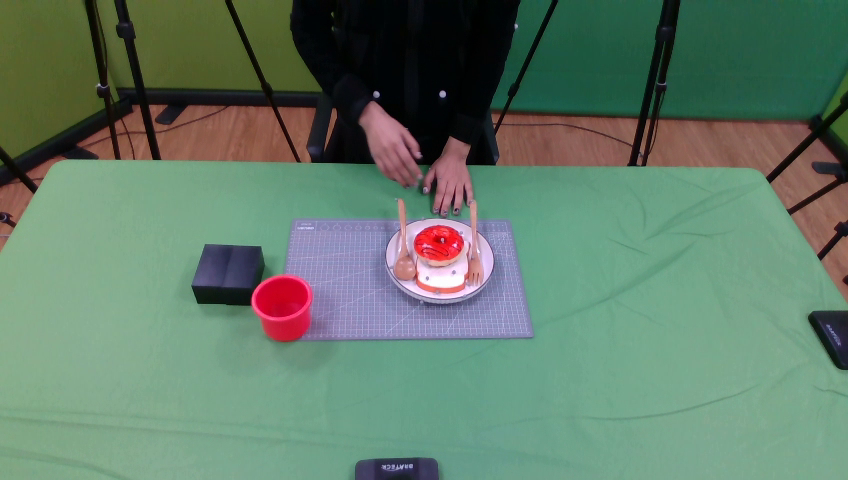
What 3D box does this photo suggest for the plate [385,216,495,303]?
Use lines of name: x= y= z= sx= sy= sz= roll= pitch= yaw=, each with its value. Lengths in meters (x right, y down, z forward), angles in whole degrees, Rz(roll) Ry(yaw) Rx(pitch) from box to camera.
plate: x=0.030 y=0.040 z=1.145 sx=0.209 sy=0.038 sz=0.208 roll=2 pitch=46 yaw=-2

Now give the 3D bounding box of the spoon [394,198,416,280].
spoon: x=-0.039 y=-0.006 z=1.166 sx=0.042 sy=0.022 sz=0.192 roll=2 pitch=59 yaw=-8

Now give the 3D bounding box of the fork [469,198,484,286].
fork: x=0.099 y=0.000 z=1.172 sx=0.028 sy=0.019 sz=0.206 roll=-6 pitch=57 yaw=11

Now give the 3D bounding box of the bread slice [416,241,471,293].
bread slice: x=0.036 y=0.046 z=1.144 sx=0.105 sy=0.019 sz=0.131 roll=4 pitch=45 yaw=2

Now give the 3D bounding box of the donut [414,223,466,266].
donut: x=0.030 y=0.007 z=1.140 sx=0.099 sy=0.048 sz=0.098 roll=0 pitch=42 yaw=0
